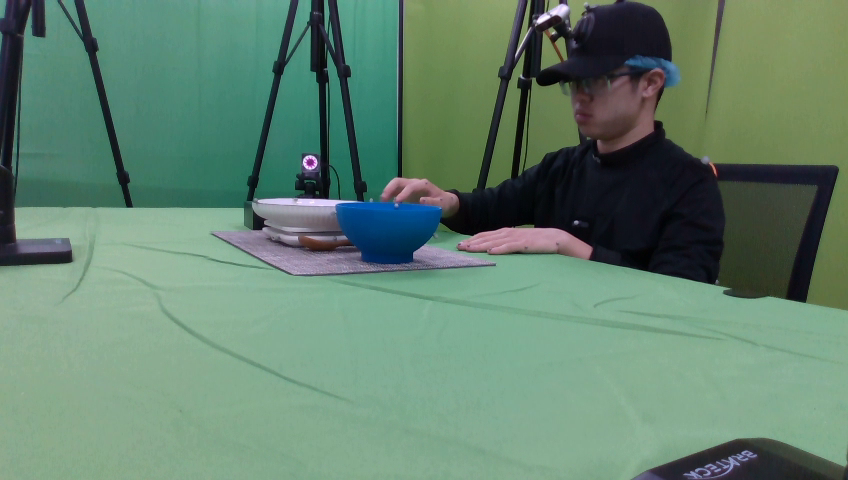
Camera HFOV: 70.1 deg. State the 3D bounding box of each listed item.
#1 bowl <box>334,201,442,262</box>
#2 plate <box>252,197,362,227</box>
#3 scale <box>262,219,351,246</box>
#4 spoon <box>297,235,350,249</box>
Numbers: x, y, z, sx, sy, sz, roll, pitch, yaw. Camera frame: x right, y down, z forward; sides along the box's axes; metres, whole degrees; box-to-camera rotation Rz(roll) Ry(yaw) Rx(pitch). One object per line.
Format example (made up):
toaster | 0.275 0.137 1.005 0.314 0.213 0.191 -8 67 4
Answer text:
bowl | -0.051 -0.012 0.848 0.151 0.077 0.151 2 7 0
plate | -0.179 -0.047 1.012 0.209 0.038 0.209 2 6 0
scale | -0.160 -0.015 1.028 0.202 0.031 0.148 -2 8 -32
spoon | -0.102 0.002 0.942 0.195 0.021 0.041 -1 -5 -31
